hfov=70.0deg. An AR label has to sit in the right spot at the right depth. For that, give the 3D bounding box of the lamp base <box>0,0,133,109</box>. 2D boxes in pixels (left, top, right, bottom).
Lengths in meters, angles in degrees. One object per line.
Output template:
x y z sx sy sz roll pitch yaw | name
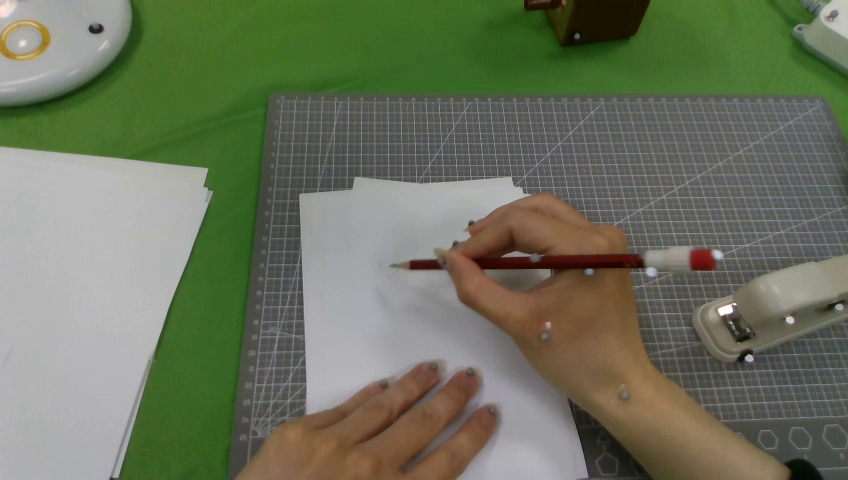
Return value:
-0.318 -0.213 0.416 0.161 0.181 0.177 -29 64 -18 | lamp base

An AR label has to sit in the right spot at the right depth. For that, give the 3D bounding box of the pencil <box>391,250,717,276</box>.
0.053 0.014 0.323 0.193 0.012 0.012 -3 52 40 | pencil

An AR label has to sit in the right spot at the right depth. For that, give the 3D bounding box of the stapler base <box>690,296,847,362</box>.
0.240 0.041 0.394 0.131 0.024 0.041 -16 64 -13 | stapler base

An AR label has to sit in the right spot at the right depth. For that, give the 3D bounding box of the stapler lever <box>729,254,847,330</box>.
0.242 0.028 0.373 0.118 0.040 0.026 -16 64 -13 | stapler lever

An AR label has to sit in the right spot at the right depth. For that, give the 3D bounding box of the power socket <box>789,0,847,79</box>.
0.420 -0.132 0.498 0.072 0.033 0.225 -40 69 -22 | power socket

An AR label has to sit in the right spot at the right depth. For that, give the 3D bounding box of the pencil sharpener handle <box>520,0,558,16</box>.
0.091 -0.206 0.463 0.031 0.068 0.035 -11 40 -8 | pencil sharpener handle

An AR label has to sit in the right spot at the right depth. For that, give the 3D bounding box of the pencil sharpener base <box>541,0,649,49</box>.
0.139 -0.214 0.485 0.077 0.108 0.061 -11 62 -8 | pencil sharpener base
